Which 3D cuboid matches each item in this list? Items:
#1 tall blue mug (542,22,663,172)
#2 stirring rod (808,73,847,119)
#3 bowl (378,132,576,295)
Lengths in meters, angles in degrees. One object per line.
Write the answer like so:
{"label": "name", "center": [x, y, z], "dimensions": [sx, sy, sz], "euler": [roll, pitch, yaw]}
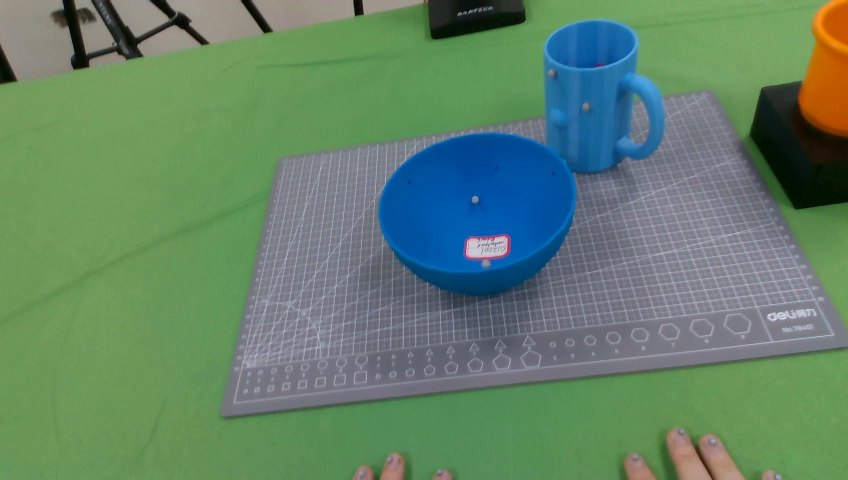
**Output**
{"label": "tall blue mug", "center": [0.160, -0.122, 0.535], "dimensions": [0.106, 0.109, 0.077], "euler": [12, 52, 23]}
{"label": "stirring rod", "center": [0.355, -0.156, 0.434], "dimensions": [0.176, 0.006, 0.014], "euler": [-49, 42, 27]}
{"label": "bowl", "center": [0.045, -0.009, 0.482], "dimensions": [0.151, 0.077, 0.150], "euler": [-7, 47, 8]}
